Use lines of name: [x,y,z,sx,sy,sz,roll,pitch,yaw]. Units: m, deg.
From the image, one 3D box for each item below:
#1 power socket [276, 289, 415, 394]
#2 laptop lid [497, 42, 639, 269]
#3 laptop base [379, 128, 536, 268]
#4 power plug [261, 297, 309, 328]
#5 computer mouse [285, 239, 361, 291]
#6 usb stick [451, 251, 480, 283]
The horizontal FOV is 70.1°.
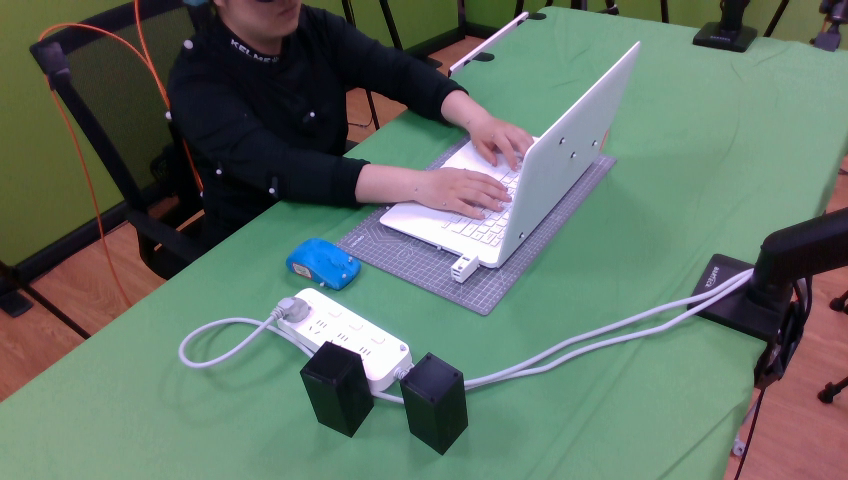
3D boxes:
power socket: [-0.113,0.133,0.820,0.225,0.033,0.072,25,49,33]
laptop lid: [0.221,-0.130,0.912,0.013,0.242,0.357,31,51,21]
laptop base: [0.118,-0.088,1.058,0.233,0.023,0.355,19,47,32]
power plug: [-0.192,0.107,0.830,0.073,0.053,0.035,-32,43,-26]
computer mouse: [-0.158,0.035,0.940,0.116,0.041,0.063,23,46,25]
usb stick: [0.066,0.036,0.899,0.021,0.027,0.059,23,45,32]
